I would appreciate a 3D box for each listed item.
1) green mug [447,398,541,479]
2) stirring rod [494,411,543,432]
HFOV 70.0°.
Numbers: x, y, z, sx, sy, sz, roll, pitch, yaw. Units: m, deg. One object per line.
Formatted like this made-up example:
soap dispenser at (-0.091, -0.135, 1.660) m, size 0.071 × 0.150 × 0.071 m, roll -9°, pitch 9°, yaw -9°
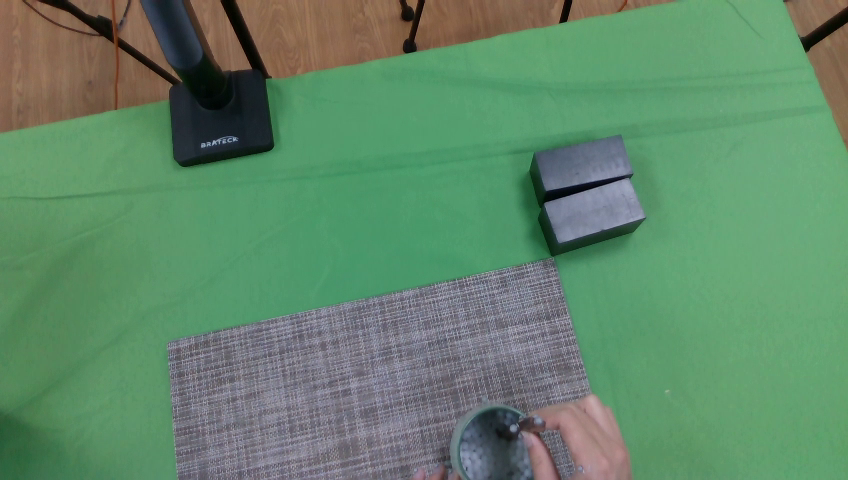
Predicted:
green mug at (0.076, 0.213, 0.586) m, size 0.092 × 0.105 × 0.124 m, roll -29°, pitch 74°, yaw -6°
stirring rod at (0.081, 0.163, 0.540) m, size 0.014 × 0.177 × 0.006 m, roll 14°, pitch 70°, yaw 3°
